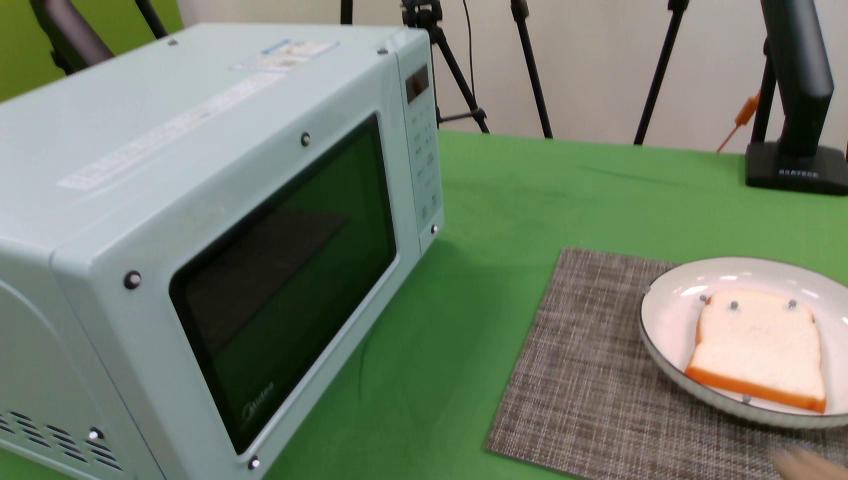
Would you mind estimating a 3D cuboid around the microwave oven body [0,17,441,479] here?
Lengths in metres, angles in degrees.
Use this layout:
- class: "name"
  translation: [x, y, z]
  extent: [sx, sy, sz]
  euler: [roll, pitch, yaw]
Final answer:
- class: "microwave oven body"
  translation: [-0.217, -0.023, 0.585]
  extent: [0.324, 0.262, 0.439]
  euler: [10, 37, 21]

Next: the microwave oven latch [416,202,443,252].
- class: "microwave oven latch"
  translation: [-0.002, -0.017, 0.717]
  extent: [0.030, 0.030, 0.079]
  euler: [10, 37, 22]

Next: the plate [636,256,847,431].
- class: "plate"
  translation: [0.295, 0.088, 0.535]
  extent: [0.209, 0.038, 0.207]
  euler: [-4, 33, 3]

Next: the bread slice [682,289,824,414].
- class: "bread slice"
  translation: [0.292, 0.089, 0.538]
  extent: [0.104, 0.019, 0.131]
  euler: [11, 38, 23]

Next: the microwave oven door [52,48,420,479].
- class: "microwave oven door"
  translation: [-0.100, 0.016, 0.497]
  extent: [0.039, 0.246, 0.354]
  euler: [9, 36, 22]
